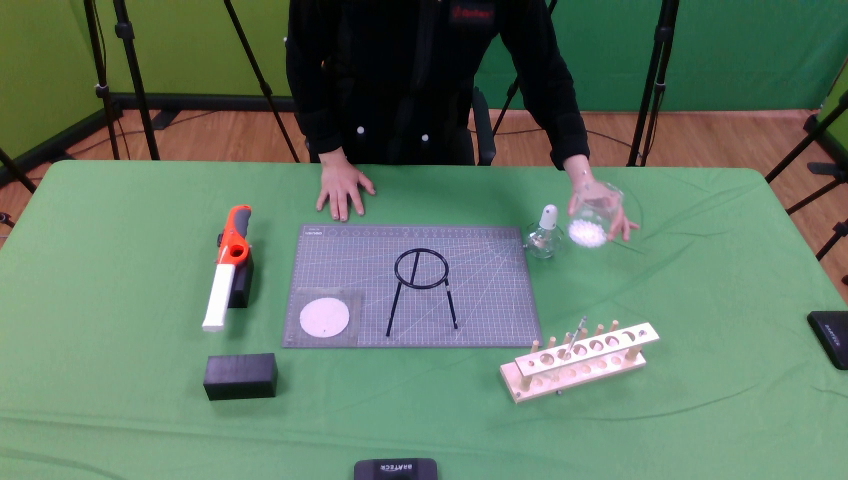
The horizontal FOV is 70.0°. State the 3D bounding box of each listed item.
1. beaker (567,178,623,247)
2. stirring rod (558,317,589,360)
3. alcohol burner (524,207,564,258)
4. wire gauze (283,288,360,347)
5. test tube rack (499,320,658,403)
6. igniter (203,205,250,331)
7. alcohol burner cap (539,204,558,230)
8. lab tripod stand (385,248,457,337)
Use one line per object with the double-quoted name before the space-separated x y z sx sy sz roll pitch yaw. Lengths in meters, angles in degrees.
"beaker" 0.288 -0.044 1.031 0.084 0.101 0.073 -7 45 -9
"stirring rod" 0.221 0.155 0.912 0.014 0.177 0.006 4 58 2
"alcohol burner" 0.236 -0.021 1.174 0.078 0.120 0.077 1 48 -1
"wire gauze" -0.178 0.132 1.063 0.125 0.011 0.120 2 46 1
"test tube rack" 0.252 0.187 0.994 0.243 0.085 0.066 -12 48 -15
"igniter" -0.345 0.039 1.065 0.057 0.025 0.274 2 48 -6
"alcohol burner cap" 0.239 -0.045 1.148 0.034 0.048 0.033 2 43 -1
"lab tripod stand" -0.010 0.087 1.032 0.148 0.132 0.147 1 45 -1
